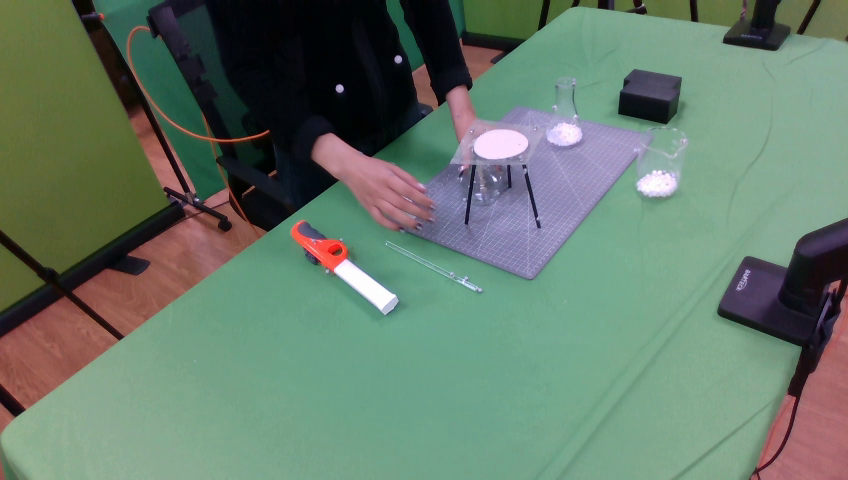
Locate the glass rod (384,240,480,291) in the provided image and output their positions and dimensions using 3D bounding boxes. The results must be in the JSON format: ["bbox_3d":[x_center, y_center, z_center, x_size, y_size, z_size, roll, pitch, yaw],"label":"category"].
[{"bbox_3d":[0.009,0.037,0.949,0.198,0.008,0.008,26,52,34],"label":"glass rod"}]

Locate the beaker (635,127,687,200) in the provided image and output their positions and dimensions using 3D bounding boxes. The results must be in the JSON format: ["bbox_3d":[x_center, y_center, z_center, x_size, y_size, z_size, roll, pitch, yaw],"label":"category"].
[{"bbox_3d":[0.388,-0.122,0.995,0.074,0.101,0.083,-8,41,2],"label":"beaker"}]

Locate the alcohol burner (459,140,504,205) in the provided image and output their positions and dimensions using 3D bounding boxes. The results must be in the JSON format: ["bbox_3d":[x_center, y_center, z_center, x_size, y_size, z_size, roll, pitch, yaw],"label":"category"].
[{"bbox_3d":[0.097,-0.119,1.031,0.078,0.120,0.077,-7,41,6],"label":"alcohol burner"}]

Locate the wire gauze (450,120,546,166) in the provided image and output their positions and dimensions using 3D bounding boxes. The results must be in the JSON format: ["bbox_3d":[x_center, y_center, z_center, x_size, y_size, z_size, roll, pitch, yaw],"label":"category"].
[{"bbox_3d":[0.117,-0.151,0.943,0.121,0.011,0.125,9,43,21],"label":"wire gauze"}]

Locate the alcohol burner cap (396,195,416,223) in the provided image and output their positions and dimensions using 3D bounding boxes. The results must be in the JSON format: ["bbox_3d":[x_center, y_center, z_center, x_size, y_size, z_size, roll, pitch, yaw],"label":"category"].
[{"bbox_3d":[-0.033,-0.055,1.036,0.034,0.048,0.033,-5,39,5],"label":"alcohol burner cap"}]

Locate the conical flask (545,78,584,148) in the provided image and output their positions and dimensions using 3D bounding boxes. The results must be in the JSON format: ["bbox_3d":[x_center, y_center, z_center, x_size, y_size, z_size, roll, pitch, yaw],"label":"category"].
[{"bbox_3d":[0.264,-0.241,1.135,0.075,0.122,0.075,-6,40,5],"label":"conical flask"}]

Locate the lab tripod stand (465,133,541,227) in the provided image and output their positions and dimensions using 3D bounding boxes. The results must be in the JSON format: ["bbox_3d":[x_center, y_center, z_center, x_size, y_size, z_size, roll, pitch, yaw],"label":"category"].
[{"bbox_3d":[0.129,-0.099,0.985,0.148,0.132,0.147,-6,38,6],"label":"lab tripod stand"}]

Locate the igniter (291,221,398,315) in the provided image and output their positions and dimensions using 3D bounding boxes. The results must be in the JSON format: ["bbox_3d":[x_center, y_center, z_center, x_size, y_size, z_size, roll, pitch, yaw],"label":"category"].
[{"bbox_3d":[-0.136,0.037,0.962,0.057,0.025,0.274,-41,48,-18],"label":"igniter"}]
